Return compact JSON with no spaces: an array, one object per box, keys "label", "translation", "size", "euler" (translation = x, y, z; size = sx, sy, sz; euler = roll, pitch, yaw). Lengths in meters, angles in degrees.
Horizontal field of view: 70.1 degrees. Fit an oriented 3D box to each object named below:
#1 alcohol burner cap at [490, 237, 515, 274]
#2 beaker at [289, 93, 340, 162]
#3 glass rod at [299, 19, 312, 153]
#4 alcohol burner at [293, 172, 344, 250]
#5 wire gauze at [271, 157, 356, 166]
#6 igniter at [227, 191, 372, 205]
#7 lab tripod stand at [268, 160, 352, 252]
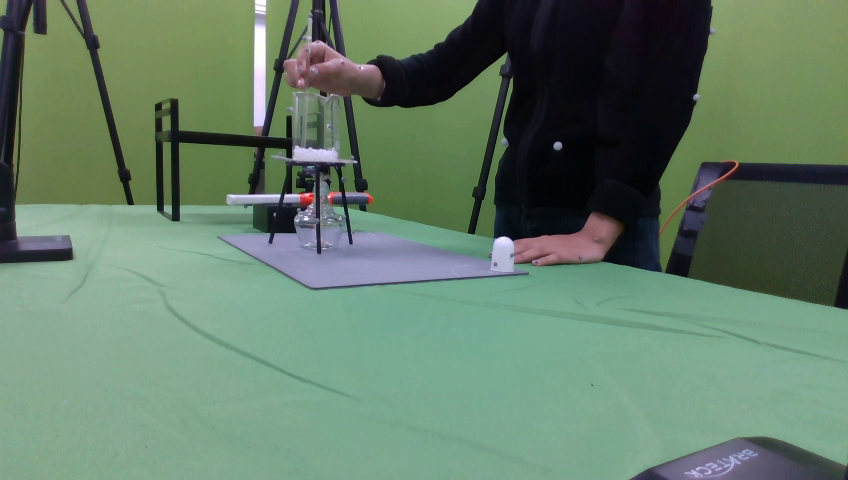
[{"label":"alcohol burner cap","translation":[0.104,0.020,0.793],"size":[0.034,0.048,0.034],"euler":[2,6,0]},{"label":"beaker","translation":[-0.162,-0.167,0.908],"size":[0.074,0.100,0.083],"euler":[-4,10,-31]},{"label":"glass rod","translation":[-0.177,-0.229,0.899],"size":[0.008,0.199,0.008],"euler":[4,0,0]},{"label":"alcohol burner","translation":[-0.159,-0.044,0.921],"size":[0.078,0.119,0.078],"euler":[5,7,0]},{"label":"wire gauze","translation":[-0.166,-0.120,0.916],"size":[0.125,0.011,0.121],"euler":[-2,6,-8]},{"label":"igniter","translation":[-0.232,-0.080,1.161],"size":[0.278,0.025,0.057],"euler":[-3,12,-28]},{"label":"lab tripod stand","translation":[-0.171,-0.055,0.921],"size":[0.148,0.131,0.148],"euler":[1,9,0]}]
